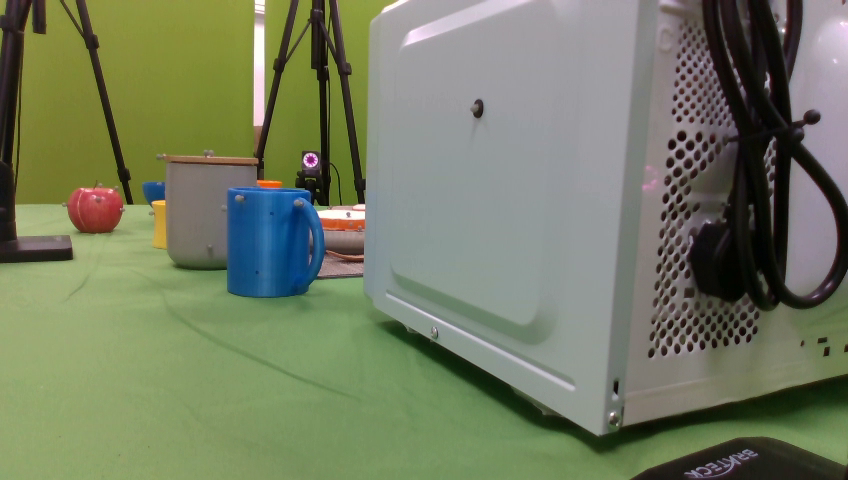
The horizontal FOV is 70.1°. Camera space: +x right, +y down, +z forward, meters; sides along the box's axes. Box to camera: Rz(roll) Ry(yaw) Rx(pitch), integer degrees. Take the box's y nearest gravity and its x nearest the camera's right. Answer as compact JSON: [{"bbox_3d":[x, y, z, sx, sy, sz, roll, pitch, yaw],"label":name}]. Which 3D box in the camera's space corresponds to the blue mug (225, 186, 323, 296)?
[{"bbox_3d":[-0.148,0.000,0.618,0.116,0.106,0.083,7,9,33],"label":"blue mug"}]

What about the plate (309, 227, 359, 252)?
[{"bbox_3d":[-0.130,-0.011,0.945,0.208,0.039,0.207,2,7,0],"label":"plate"}]

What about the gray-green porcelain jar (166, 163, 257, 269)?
[{"bbox_3d":[-0.263,-0.031,0.754,0.106,0.126,0.106,2,7,0],"label":"gray-green porcelain jar"}]

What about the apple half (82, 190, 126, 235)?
[{"bbox_3d":[-0.517,-0.046,0.994,0.032,0.081,0.081,0,6,26],"label":"apple half"}]

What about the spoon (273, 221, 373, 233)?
[{"bbox_3d":[-0.180,-0.027,1.109,0.195,0.021,0.041,-4,-15,-33],"label":"spoon"}]

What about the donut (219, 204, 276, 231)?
[{"bbox_3d":[-0.316,-0.039,1.083,0.099,0.048,0.099,2,7,0],"label":"donut"}]

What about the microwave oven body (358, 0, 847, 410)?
[{"bbox_3d":[0.210,-0.051,0.471,0.444,0.260,0.324,-1,7,-28],"label":"microwave oven body"}]

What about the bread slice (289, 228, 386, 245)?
[{"bbox_3d":[-0.125,-0.006,0.938,0.131,0.019,0.105,3,6,31],"label":"bread slice"}]

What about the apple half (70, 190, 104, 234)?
[{"bbox_3d":[-0.552,-0.047,1.010,0.053,0.074,0.081,-1,9,26],"label":"apple half"}]

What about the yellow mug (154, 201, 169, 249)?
[{"bbox_3d":[-0.338,-0.022,0.899,0.130,0.064,0.100,8,9,34],"label":"yellow mug"}]

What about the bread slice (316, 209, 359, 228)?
[{"bbox_3d":[-0.127,-0.034,0.933,0.134,0.018,0.107,3,10,28],"label":"bread slice"}]

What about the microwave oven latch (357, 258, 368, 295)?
[{"bbox_3d":[-0.019,0.031,0.529,0.079,0.029,0.030,-1,7,-26],"label":"microwave oven latch"}]

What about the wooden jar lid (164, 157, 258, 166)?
[{"bbox_3d":[-0.261,-0.093,0.746,0.108,0.020,0.108,0,9,0],"label":"wooden jar lid"}]

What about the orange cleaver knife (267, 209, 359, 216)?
[{"bbox_3d":[-0.259,-0.064,1.423,0.212,0.012,0.077,-4,3,-30],"label":"orange cleaver knife"}]

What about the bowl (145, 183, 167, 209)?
[{"bbox_3d":[-0.459,-0.068,1.175,0.151,0.077,0.151,2,7,0],"label":"bowl"}]

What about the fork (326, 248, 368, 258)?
[{"bbox_3d":[-0.032,0.015,0.835,0.208,0.018,0.028,-3,0,-24],"label":"fork"}]

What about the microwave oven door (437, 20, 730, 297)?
[{"bbox_3d":[0.181,-0.076,0.618,0.358,0.243,0.039,-2,9,-28],"label":"microwave oven door"}]

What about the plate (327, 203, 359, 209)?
[{"bbox_3d":[-0.102,-0.053,1.299,0.209,0.038,0.209,2,8,0],"label":"plate"}]
